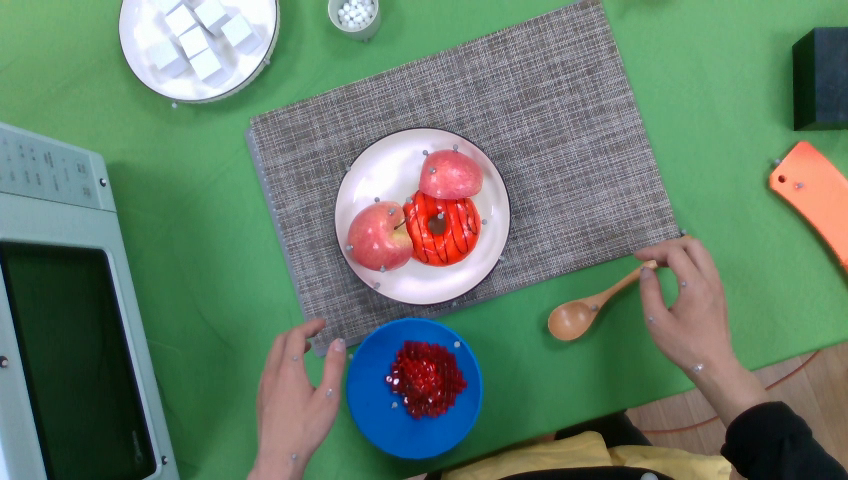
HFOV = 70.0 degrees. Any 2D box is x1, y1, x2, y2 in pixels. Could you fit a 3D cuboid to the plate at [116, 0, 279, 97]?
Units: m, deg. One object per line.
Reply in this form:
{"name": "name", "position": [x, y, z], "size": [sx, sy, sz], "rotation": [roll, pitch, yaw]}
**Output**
{"name": "plate", "position": [-0.277, -0.278, 0.756], "size": [0.207, 0.039, 0.207], "rotation": [0, 88, 7]}

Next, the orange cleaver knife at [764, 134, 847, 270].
{"name": "orange cleaver knife", "position": [0.460, -0.021, 0.667], "size": [0.077, 0.012, 0.210], "rotation": [-33, 83, -1]}

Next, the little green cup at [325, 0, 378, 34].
{"name": "little green cup", "position": [-0.085, -0.281, 0.733], "size": [0.061, 0.039, 0.061], "rotation": [0, 88, 7]}

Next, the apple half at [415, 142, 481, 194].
{"name": "apple half", "position": [0.028, -0.088, 0.682], "size": [0.081, 0.033, 0.080], "rotation": [1, 47, 0]}

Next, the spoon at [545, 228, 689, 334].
{"name": "spoon", "position": [0.222, 0.045, 0.692], "size": [0.194, 0.022, 0.041], "rotation": [-36, 69, 5]}

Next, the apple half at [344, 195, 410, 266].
{"name": "apple half", "position": [-0.060, -0.009, 0.685], "size": [0.074, 0.053, 0.080], "rotation": [-19, 82, 47]}

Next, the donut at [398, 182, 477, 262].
{"name": "donut", "position": [0.012, -0.023, 0.697], "size": [0.099, 0.048, 0.099], "rotation": [0, 90, 7]}

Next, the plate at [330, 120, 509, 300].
{"name": "plate", "position": [-0.005, -0.034, 0.711], "size": [0.209, 0.038, 0.209], "rotation": [0, 88, 7]}

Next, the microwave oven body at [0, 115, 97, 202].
{"name": "microwave oven body", "position": [-0.520, 0.124, 0.654], "size": [0.326, 0.260, 0.441], "rotation": [-16, 86, 5]}

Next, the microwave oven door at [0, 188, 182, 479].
{"name": "microwave oven door", "position": [-0.369, 0.125, 0.631], "size": [0.039, 0.244, 0.355], "rotation": [-16, 86, 6]}

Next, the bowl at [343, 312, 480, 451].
{"name": "bowl", "position": [-0.009, 0.154, 0.688], "size": [0.151, 0.077, 0.151], "rotation": [0, 88, 7]}

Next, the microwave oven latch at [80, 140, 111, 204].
{"name": "microwave oven latch", "position": [-0.413, -0.081, 0.746], "size": [0.030, 0.029, 0.079], "rotation": [-15, 87, 6]}
